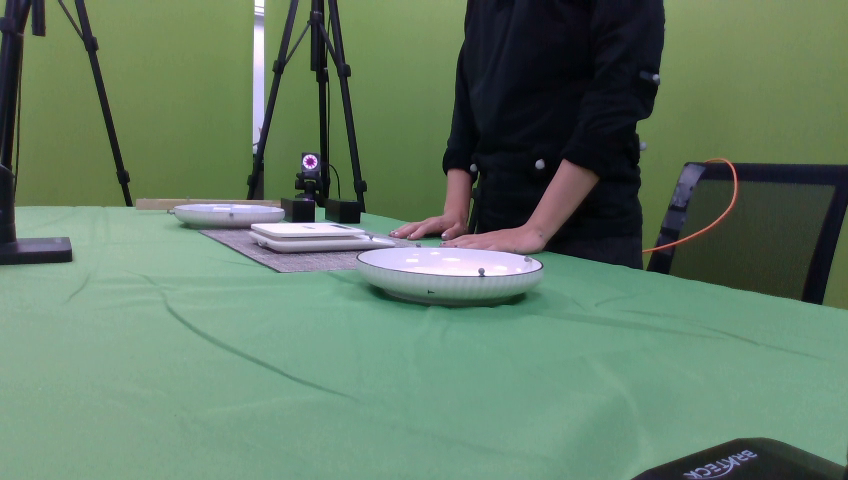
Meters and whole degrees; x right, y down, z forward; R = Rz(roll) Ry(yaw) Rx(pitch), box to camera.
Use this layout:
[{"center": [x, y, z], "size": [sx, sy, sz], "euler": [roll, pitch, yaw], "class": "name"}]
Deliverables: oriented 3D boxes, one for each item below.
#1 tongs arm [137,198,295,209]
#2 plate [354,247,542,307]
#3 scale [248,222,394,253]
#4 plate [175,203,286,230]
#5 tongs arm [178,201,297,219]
[{"center": [-0.489, -0.086, 1.472], "size": [0.050, 0.026, 0.387], "euler": [10, 9, 42], "class": "tongs arm"}, {"center": [0.025, 0.039, 0.672], "size": [0.209, 0.038, 0.209], "euler": [3, 7, 0], "class": "plate"}, {"center": [-0.162, -0.006, 0.954], "size": [0.202, 0.031, 0.148], "euler": [-1, 9, -32], "class": "scale"}, {"center": [-0.380, -0.047, 1.199], "size": [0.208, 0.039, 0.207], "euler": [3, 7, 0], "class": "plate"}, {"center": [-0.418, -0.073, 1.420], "size": [0.028, 0.028, 0.389], "euler": [3, 6, 28], "class": "tongs arm"}]
